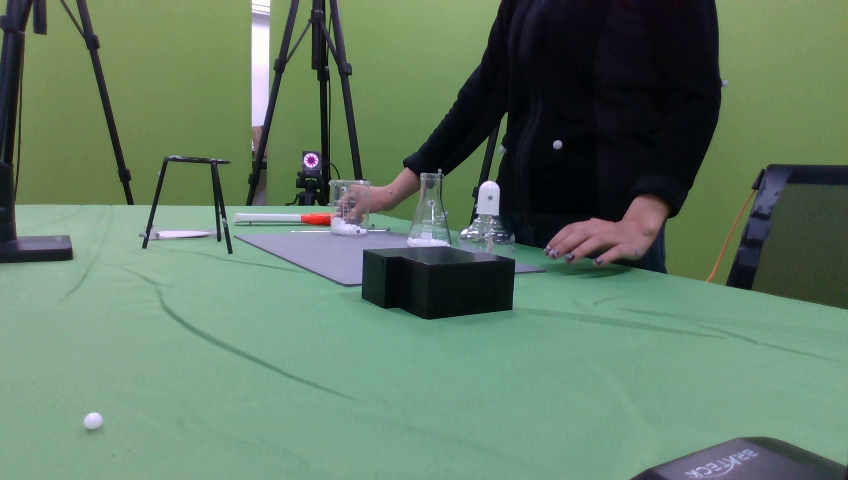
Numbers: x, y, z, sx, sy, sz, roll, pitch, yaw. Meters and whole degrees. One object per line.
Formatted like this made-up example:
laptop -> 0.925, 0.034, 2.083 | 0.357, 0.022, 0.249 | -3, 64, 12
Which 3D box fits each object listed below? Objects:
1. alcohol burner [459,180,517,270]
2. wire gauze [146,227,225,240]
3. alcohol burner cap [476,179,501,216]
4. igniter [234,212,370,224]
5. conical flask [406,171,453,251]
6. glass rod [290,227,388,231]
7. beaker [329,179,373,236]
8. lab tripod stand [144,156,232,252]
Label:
alcohol burner -> 0.086, -0.021, 0.805 | 0.078, 0.119, 0.078 | 3, 9, 0
wire gauze -> -0.400, -0.012, 1.019 | 0.122, 0.011, 0.124 | -1, 6, -26
alcohol burner cap -> 0.086, -0.057, 0.801 | 0.034, 0.048, 0.034 | 4, 2, 0
igniter -> -0.247, -0.046, 1.253 | 0.278, 0.025, 0.057 | -1, -3, -27
conical flask -> 0.011, -0.046, 0.948 | 0.075, 0.122, 0.075 | 2, 7, 0
glass rod -> -0.162, -0.022, 1.179 | 0.201, 0.008, 0.008 | -2, 8, -28
beaker -> -0.137, -0.061, 1.101 | 0.084, 0.100, 0.074 | 5, 7, 20
lab tripod stand -> -0.325, -0.054, 0.881 | 0.148, 0.131, 0.148 | 4, 7, 0
